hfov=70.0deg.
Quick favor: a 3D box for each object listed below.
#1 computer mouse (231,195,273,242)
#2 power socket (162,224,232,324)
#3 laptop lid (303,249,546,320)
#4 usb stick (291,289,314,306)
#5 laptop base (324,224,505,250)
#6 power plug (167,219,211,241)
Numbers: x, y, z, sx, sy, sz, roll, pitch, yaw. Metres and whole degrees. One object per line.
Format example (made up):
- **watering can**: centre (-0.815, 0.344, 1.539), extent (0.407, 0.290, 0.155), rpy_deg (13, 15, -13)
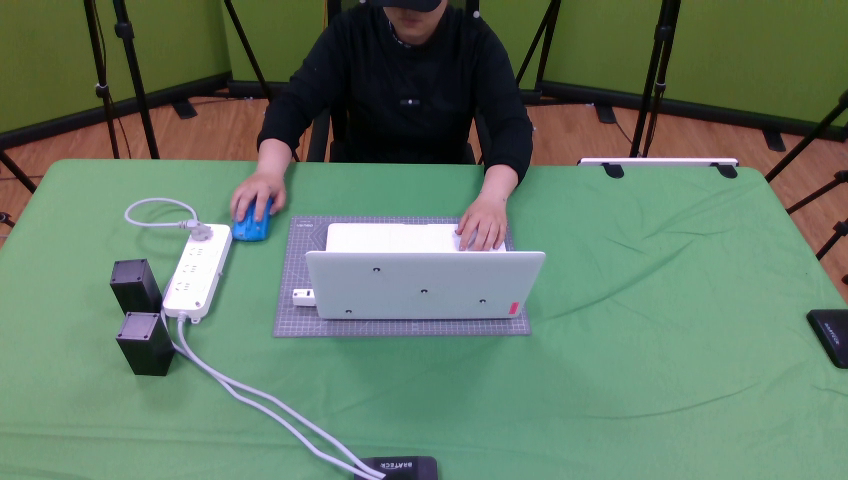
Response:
- **computer mouse**: centre (-0.341, -0.046, 1.206), extent (0.063, 0.041, 0.116), rpy_deg (5, 50, -3)
- **power socket**: centre (-0.411, 0.053, 1.106), extent (0.072, 0.033, 0.225), rpy_deg (3, 45, -1)
- **laptop lid**: centre (-0.003, 0.077, 0.962), extent (0.357, 0.242, 0.013), rpy_deg (1, 58, -5)
- **usb stick**: centre (-0.203, 0.102, 1.066), extent (0.059, 0.027, 0.021), rpy_deg (4, 44, -5)
- **laptop base**: centre (-0.014, 0.055, 1.144), extent (0.355, 0.023, 0.234), rpy_deg (0, 42, -4)
- **power plug**: centre (-0.438, -0.017, 1.143), extent (0.072, 0.053, 0.035), rpy_deg (11, 44, 6)
